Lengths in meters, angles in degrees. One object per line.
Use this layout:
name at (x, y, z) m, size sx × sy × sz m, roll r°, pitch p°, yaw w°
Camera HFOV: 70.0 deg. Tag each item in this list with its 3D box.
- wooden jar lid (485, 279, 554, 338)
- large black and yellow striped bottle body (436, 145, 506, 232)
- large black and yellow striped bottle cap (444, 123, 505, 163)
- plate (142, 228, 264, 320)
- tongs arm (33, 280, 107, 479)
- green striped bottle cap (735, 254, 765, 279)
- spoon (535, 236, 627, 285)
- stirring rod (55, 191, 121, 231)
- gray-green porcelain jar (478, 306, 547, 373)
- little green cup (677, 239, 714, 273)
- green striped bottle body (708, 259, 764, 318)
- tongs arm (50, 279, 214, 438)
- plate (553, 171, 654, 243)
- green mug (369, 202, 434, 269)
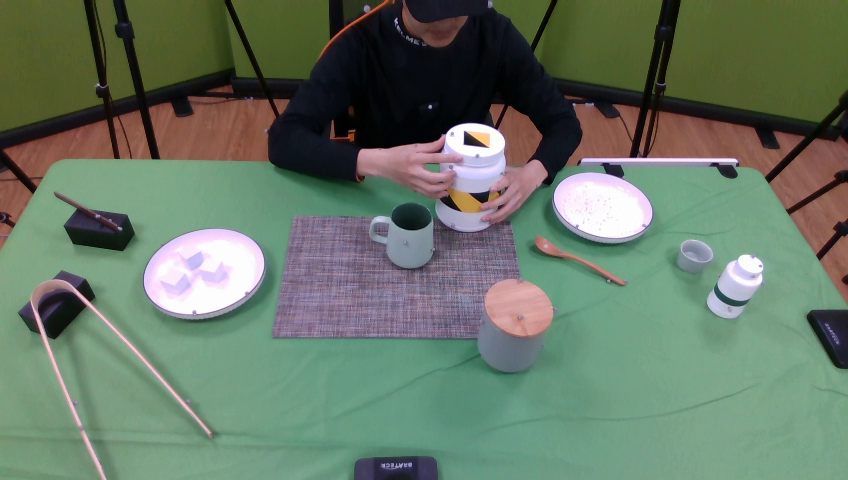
wooden jar lid at (0.147, 0.108, 0.940) m, size 0.108 × 0.021 × 0.107 m, roll 4°, pitch 47°, yaw -4°
large black and yellow striped bottle body at (0.092, -0.123, 1.205) m, size 0.131 × 0.185 × 0.130 m, roll 2°, pitch 42°, yaw -2°
large black and yellow striped bottle cap at (0.096, -0.185, 1.148) m, size 0.115 × 0.019 × 0.114 m, roll 3°, pitch 43°, yaw -3°
plate at (-0.394, 0.064, 1.095) m, size 0.208 × 0.039 × 0.206 m, roll 2°, pitch 46°, yaw -2°
tongs arm at (-0.517, 0.214, 0.909) m, size 0.051 × 0.026 × 0.383 m, roll -28°, pitch 63°, yaw -27°
green striped bottle cap at (0.566, 0.046, 1.051) m, size 0.044 × 0.020 × 0.044 m, roll 0°, pitch 45°, yaw 0°
spoon at (0.304, 0.040, 1.178) m, size 0.193 × 0.022 × 0.041 m, roll 25°, pitch 33°, yaw 19°
stirring rod at (-0.632, -0.055, 1.138) m, size 0.175 × 0.014 × 0.006 m, roll 24°, pitch 51°, yaw 19°
gray-green porcelain jar at (0.144, 0.148, 0.989) m, size 0.106 × 0.127 × 0.105 m, roll 2°, pitch 50°, yaw -2°
little green cup at (0.530, 0.033, 1.189) m, size 0.061 × 0.039 × 0.061 m, roll 2°, pitch 47°, yaw -2°
green striped bottle body at (0.563, 0.081, 1.089) m, size 0.063 × 0.120 × 0.063 m, roll 2°, pitch 46°, yaw -2°
tongs arm at (-0.459, 0.178, 0.949) m, size 0.386 × 0.028 × 0.028 m, roll 38°, pitch 60°, yaw 17°
plate at (0.373, -0.066, 1.274) m, size 0.209 × 0.038 × 0.208 m, roll 2°, pitch 46°, yaw -2°
green mug at (-0.043, -0.010, 1.140) m, size 0.125 × 0.105 × 0.092 m, roll 8°, pitch 47°, yaw 4°
